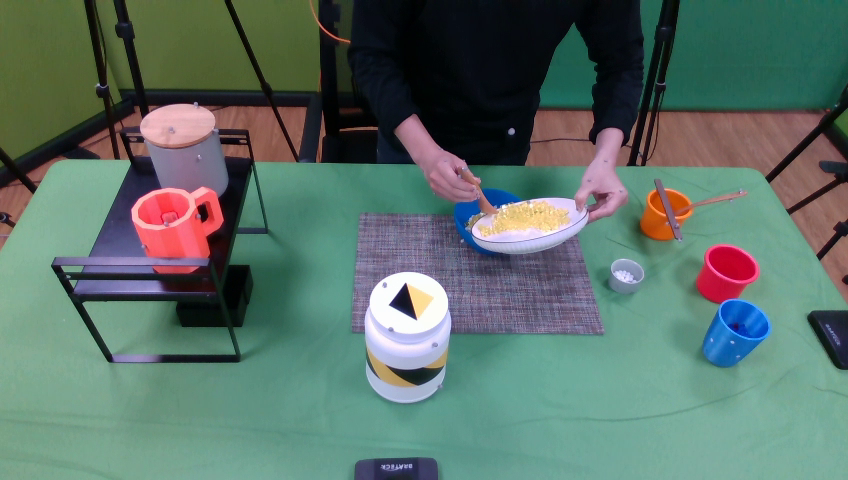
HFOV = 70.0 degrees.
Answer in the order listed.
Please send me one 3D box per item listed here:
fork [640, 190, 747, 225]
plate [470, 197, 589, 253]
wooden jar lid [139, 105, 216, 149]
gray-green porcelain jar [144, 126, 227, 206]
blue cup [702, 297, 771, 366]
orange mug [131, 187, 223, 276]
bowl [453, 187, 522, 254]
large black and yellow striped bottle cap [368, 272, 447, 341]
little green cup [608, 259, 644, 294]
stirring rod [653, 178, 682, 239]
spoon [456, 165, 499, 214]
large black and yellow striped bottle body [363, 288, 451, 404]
[{"bbox_3d":[0.533,-0.065,1.211,0.207,0.019,0.028,-22,28,38],"label":"fork"},{"bbox_3d":[0.187,-0.023,1.073,0.209,0.038,0.208,-13,19,5],"label":"plate"},{"bbox_3d":[-0.372,-0.169,0.920,0.108,0.021,0.107,4,44,-4],"label":"wooden jar lid"},{"bbox_3d":[-0.375,-0.126,0.967,0.106,0.127,0.105,2,46,-2],"label":"gray-green porcelain jar"},{"bbox_3d":[0.519,0.162,1.025,0.093,0.101,0.092,3,45,-3],"label":"blue cup"},{"bbox_3d":[-0.354,-0.022,0.888,0.083,0.101,0.126,31,55,24],"label":"orange mug"},{"bbox_3d":[0.128,-0.026,1.187,0.151,0.077,0.150,3,46,-2],"label":"bowl"},{"bbox_3d":[-0.023,0.093,0.875,0.115,0.019,0.114,3,46,-3],"label":"large black and yellow striped bottle cap"},{"bbox_3d":[0.379,0.070,1.147,0.061,0.039,0.061,3,46,-3],"label":"little green cup"},{"bbox_3d":[0.482,-0.065,1.203,0.014,0.006,0.175,2,46,-1],"label":"stirring rod"},{"bbox_3d":[0.091,-0.088,1.062,0.041,0.195,0.021,22,76,30],"label":"spoon"},{"bbox_3d":[-0.027,0.153,0.935,0.131,0.185,0.130,2,46,-2],"label":"large black and yellow striped bottle body"}]
